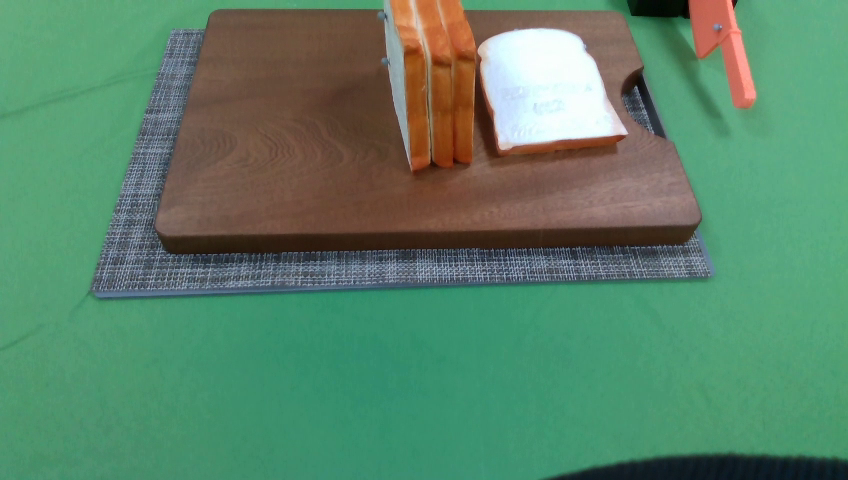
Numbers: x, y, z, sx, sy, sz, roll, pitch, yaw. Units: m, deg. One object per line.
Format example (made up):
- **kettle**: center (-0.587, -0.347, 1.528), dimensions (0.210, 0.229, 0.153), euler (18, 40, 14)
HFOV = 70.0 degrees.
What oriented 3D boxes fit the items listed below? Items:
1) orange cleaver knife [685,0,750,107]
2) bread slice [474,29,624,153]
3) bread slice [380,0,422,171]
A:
- **orange cleaver knife**: center (0.275, -0.213, 0.581), dimensions (0.012, 0.077, 0.210), euler (1, 73, -5)
- **bread slice**: center (0.097, -0.129, 0.510), dimensions (0.105, 0.019, 0.130), euler (-7, 58, -6)
- **bread slice**: center (-0.019, -0.133, 0.464), dimensions (0.018, 0.108, 0.133), euler (-6, 47, -6)
